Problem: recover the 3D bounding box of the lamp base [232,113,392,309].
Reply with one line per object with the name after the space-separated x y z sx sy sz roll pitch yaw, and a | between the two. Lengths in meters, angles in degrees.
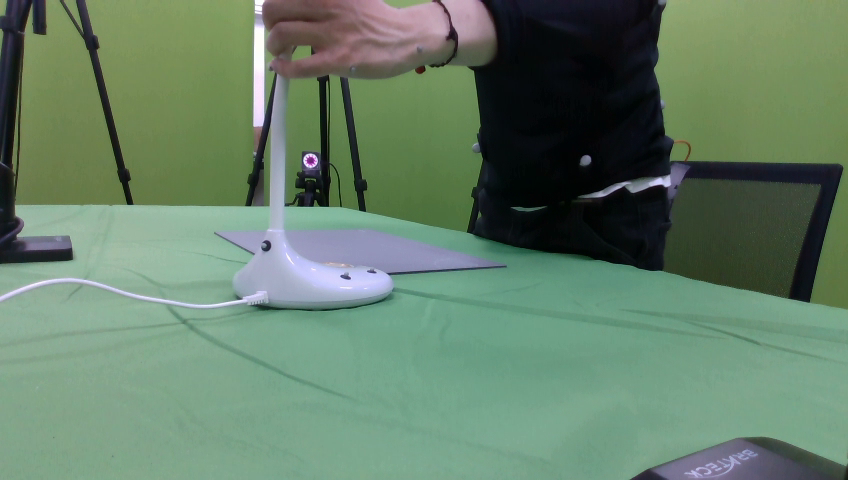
-0.113 -0.031 0.594 0.160 0.180 0.179 4 10 18 | lamp base
